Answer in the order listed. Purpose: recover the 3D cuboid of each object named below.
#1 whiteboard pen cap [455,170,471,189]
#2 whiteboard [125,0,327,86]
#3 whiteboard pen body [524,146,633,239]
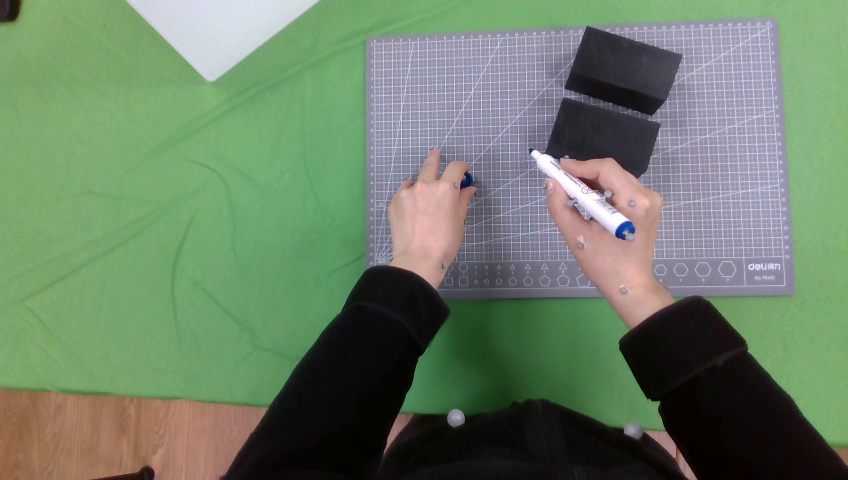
[{"bbox_3d":[0.041,-0.065,0.651,0.018,0.033,0.018,0,86,2],"label":"whiteboard pen cap"},{"bbox_3d":[-0.242,-0.349,0.599,0.217,0.308,0.142,-37,62,1],"label":"whiteboard"},{"bbox_3d":[0.119,-0.044,0.490,0.017,0.017,0.139,-37,44,1],"label":"whiteboard pen body"}]
